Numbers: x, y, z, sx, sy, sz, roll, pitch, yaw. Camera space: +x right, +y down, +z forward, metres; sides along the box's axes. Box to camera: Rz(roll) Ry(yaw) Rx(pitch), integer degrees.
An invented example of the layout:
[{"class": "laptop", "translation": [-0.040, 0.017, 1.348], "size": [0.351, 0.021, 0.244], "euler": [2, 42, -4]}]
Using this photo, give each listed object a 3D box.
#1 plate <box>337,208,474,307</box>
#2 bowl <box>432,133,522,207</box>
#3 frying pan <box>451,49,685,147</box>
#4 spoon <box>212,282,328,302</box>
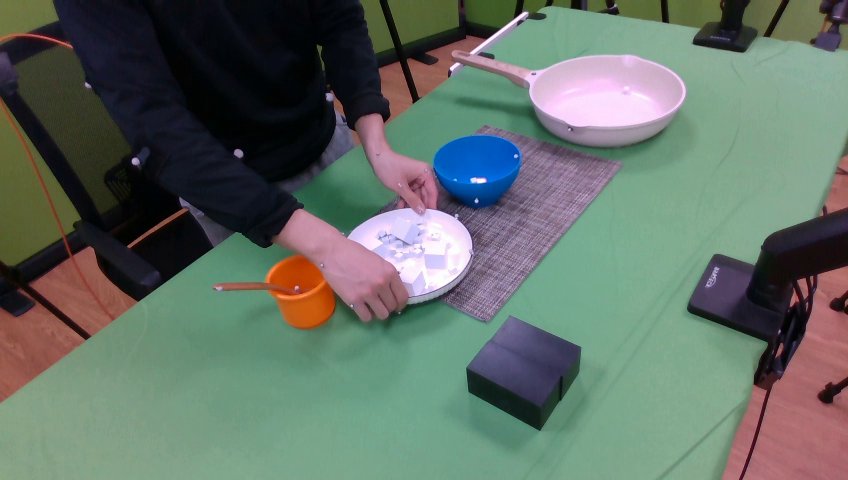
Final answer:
[{"class": "plate", "translation": [-0.026, 0.028, 0.921], "size": [0.207, 0.039, 0.206], "euler": [-4, 41, 4]}, {"class": "bowl", "translation": [0.092, -0.110, 1.034], "size": [0.151, 0.077, 0.150], "euler": [-4, 41, 4]}, {"class": "frying pan", "translation": [0.269, -0.316, 1.233], "size": [0.485, 0.103, 0.307], "euler": [26, 49, 21]}, {"class": "spoon", "translation": [-0.204, 0.067, 0.822], "size": [0.041, 0.195, 0.021], "euler": [27, 96, 35]}]
